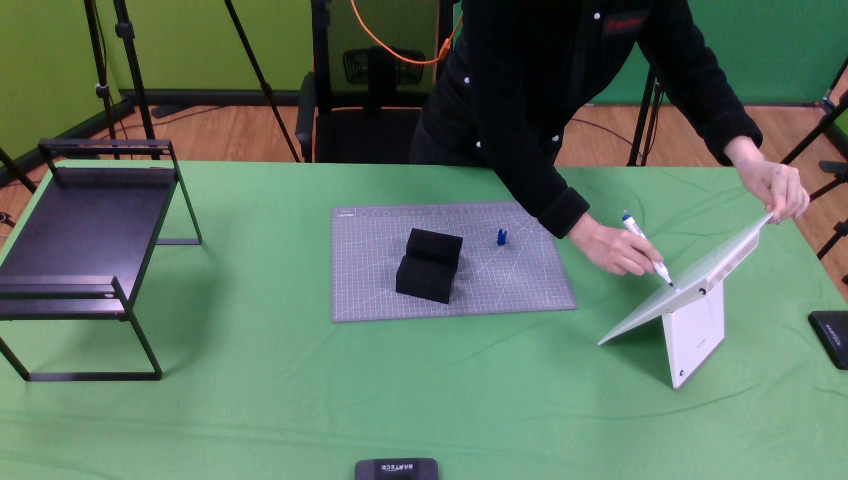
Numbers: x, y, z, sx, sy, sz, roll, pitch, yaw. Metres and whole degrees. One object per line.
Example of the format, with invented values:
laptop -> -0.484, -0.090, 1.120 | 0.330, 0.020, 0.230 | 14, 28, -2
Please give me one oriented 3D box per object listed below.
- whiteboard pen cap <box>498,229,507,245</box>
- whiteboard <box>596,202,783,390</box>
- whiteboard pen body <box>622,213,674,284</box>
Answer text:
whiteboard pen cap -> 0.156, -0.005, 1.202 | 0.018, 0.033, 0.018 | 0, 44, 0
whiteboard -> 0.460, 0.112, 0.967 | 0.217, 0.306, 0.143 | -31, 74, -29
whiteboard pen body -> 0.370, 0.016, 0.995 | 0.017, 0.017, 0.140 | -35, 90, -31
